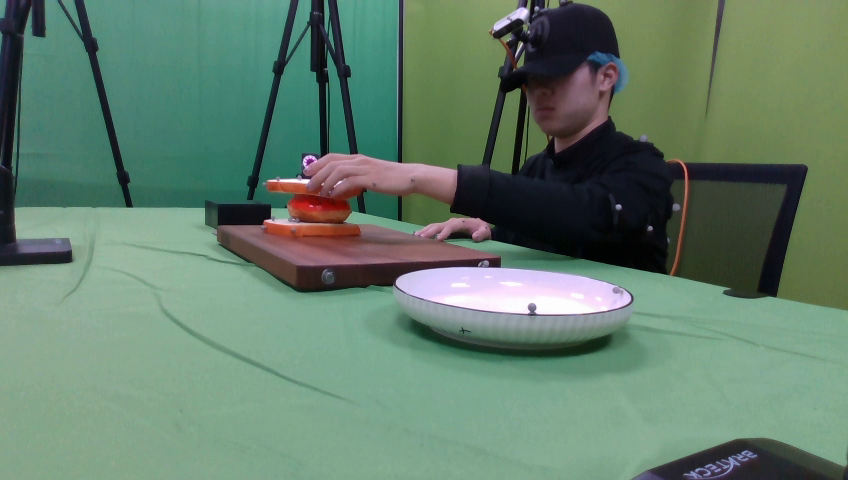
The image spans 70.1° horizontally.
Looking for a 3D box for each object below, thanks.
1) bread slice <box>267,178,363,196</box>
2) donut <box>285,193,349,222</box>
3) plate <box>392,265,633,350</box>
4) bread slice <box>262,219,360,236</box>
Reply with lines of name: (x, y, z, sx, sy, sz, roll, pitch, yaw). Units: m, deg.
bread slice: (-0.171, -0.082, 0.929, 0.134, 0.018, 0.107, 4, 9, 6)
donut: (-0.166, -0.051, 0.937, 0.099, 0.048, 0.099, 4, 8, 0)
plate: (0.074, 0.057, 0.533, 0.209, 0.038, 0.209, 3, 7, 0)
bread slice: (-0.179, -0.021, 0.931, 0.132, 0.019, 0.104, -1, 7, -35)
